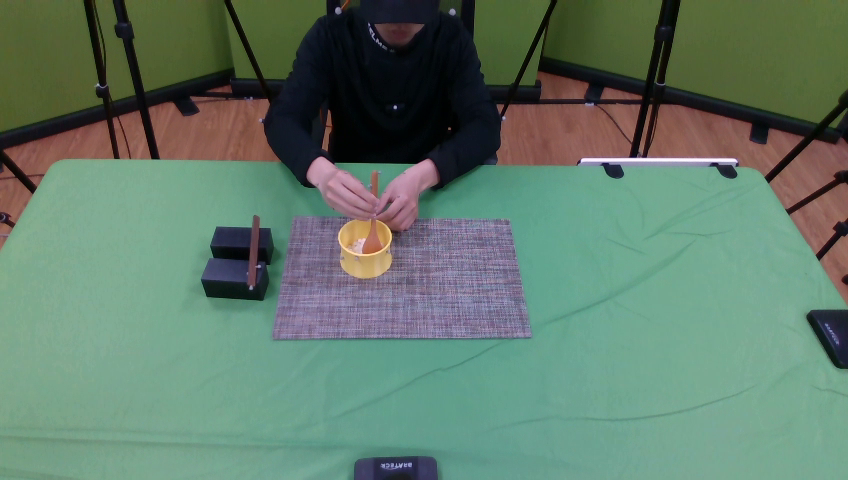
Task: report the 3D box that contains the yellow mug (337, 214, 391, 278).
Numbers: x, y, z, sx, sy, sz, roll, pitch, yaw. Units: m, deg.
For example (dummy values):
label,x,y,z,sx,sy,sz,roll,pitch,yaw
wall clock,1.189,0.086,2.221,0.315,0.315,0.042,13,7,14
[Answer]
label,x,y,z,sx,sy,sz,roll,pitch,yaw
yellow mug,-0.110,0.003,1.152,0.100,0.064,0.130,7,45,2

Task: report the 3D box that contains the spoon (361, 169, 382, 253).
label,x,y,z,sx,sy,sz,roll,pitch,yaw
spoon,-0.093,-0.040,1.098,0.041,0.194,0.021,7,29,7

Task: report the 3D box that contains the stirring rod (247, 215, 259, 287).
label,x,y,z,sx,sy,sz,roll,pitch,yaw
stirring rod,-0.309,0.016,1.097,0.014,0.006,0.175,24,36,-31
